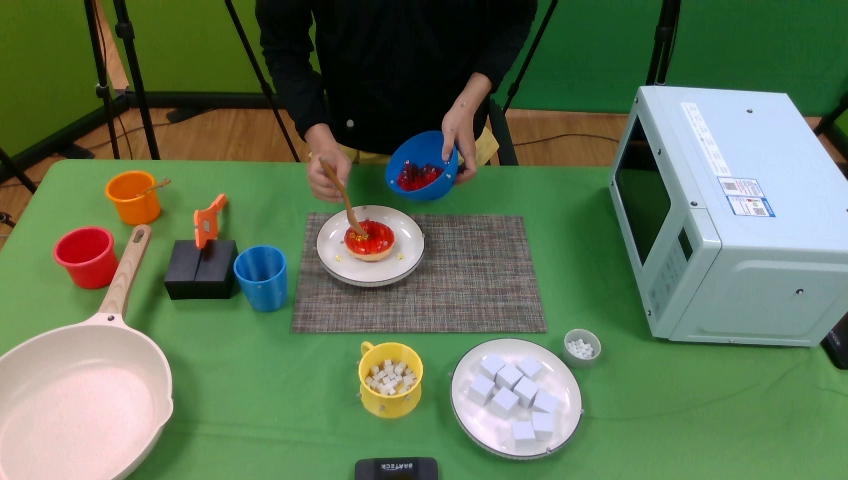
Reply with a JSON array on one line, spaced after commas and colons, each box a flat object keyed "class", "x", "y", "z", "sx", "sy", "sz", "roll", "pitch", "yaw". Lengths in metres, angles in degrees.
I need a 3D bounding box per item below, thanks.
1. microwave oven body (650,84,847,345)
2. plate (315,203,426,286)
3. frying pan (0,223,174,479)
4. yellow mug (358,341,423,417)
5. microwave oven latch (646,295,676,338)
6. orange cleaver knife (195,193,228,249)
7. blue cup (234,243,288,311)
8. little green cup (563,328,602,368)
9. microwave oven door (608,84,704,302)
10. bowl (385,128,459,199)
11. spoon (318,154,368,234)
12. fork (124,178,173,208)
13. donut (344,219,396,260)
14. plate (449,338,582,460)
[{"class": "microwave oven body", "x": 0.569, "y": -0.054, "z": 1.115, "sx": 0.326, "sy": 0.261, "sz": 0.439, "roll": 2, "pitch": 46, "yaw": -1}, {"class": "plate", "x": -0.101, "y": 0.011, "z": 1.160, "sx": 0.209, "sy": 0.038, "sz": 0.208, "roll": 2, "pitch": 46, "yaw": -2}, {"class": "frying pan", "x": -0.505, "y": 0.169, "z": 0.941, "sx": 0.307, "sy": 0.103, "sz": 0.485, "roll": 5, "pitch": 54, "yaw": -1}, {"class": "yellow mug", "x": -0.062, "y": 0.210, "z": 0.961, "sx": 0.100, "sy": 0.064, "sz": 0.130, "roll": -29, "pitch": 54, "yaw": -27}, {"class": "microwave oven latch", "x": 0.413, "y": 0.133, "z": 1.060, "sx": 0.030, "sy": 0.029, "sz": 0.078, "roll": 4, "pitch": 46, "yaw": 1}, {"class": "orange cleaver knife", "x": -0.406, "y": -0.041, "z": 1.163, "sx": 0.012, "sy": 0.077, "sz": 0.210, "roll": 0, "pitch": 18, "yaw": -3}, {"class": "blue cup", "x": -0.276, "y": 0.072, "z": 1.052, "sx": 0.093, "sy": 0.101, "sz": 0.092, "roll": 1, "pitch": 48, "yaw": -1}, {"class": "little green cup", "x": 0.265, "y": 0.184, "z": 1.025, "sx": 0.061, "sy": 0.039, "sz": 0.061, "roll": 2, "pitch": 46, "yaw": -2}, {"class": "microwave oven door", "x": 0.424, "y": -0.096, "z": 1.138, "sx": 0.039, "sy": 0.245, "sz": 0.353, "roll": 3, "pitch": 46, "yaw": -1}, {"class": "bowl", "x": 0.010, "y": -0.132, "z": 1.165, "sx": 0.151, "sy": 0.077, "sz": 0.150, "roll": -17, "pitch": 50, "yaw": 22}, {"class": "spoon", "x": -0.142, "y": -0.077, "z": 1.059, "sx": 0.021, "sy": 0.195, "sz": 0.041, "roll": -38, "pitch": 44, "yaw": -18}, {"class": "fork", "x": -0.525, "y": -0.090, "z": 1.153, "sx": 0.207, "sy": 0.019, "sz": 0.028, "roll": -18, "pitch": 27, "yaw": 45}, {"class": "donut", "x": -0.103, "y": -0.002, "z": 1.157, "sx": 0.099, "sy": 0.048, "sz": 0.098, "roll": 3, "pitch": 43, "yaw": -2}, {"class": "plate", "x": 0.141, "y": 0.251, "z": 0.955, "sx": 0.208, "sy": 0.039, "sz": 0.206, "roll": 2, "pitch": 46, "yaw": -2}]
